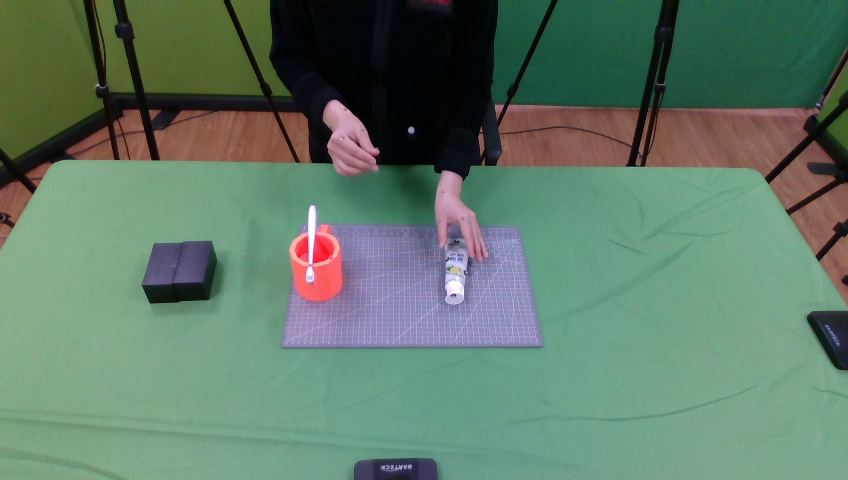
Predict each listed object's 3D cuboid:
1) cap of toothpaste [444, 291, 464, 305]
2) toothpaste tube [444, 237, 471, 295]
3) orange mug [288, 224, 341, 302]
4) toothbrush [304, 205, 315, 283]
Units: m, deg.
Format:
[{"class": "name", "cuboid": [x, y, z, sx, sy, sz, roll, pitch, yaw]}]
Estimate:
[{"class": "cap of toothpaste", "cuboid": [0.054, 0.103, 1.087, 0.037, 0.037, 0.011, -4, 48, -8]}, {"class": "toothpaste tube", "cuboid": [0.062, 0.049, 1.149, 0.055, 0.034, 0.164, 9, 41, -3]}, {"class": "orange mug", "cuboid": [-0.192, 0.034, 1.094, 0.083, 0.101, 0.125, 7, 50, 2]}, {"class": "toothbrush", "cuboid": [-0.199, 0.001, 1.052, 0.014, 0.017, 0.180, -5, 46, -3]}]
